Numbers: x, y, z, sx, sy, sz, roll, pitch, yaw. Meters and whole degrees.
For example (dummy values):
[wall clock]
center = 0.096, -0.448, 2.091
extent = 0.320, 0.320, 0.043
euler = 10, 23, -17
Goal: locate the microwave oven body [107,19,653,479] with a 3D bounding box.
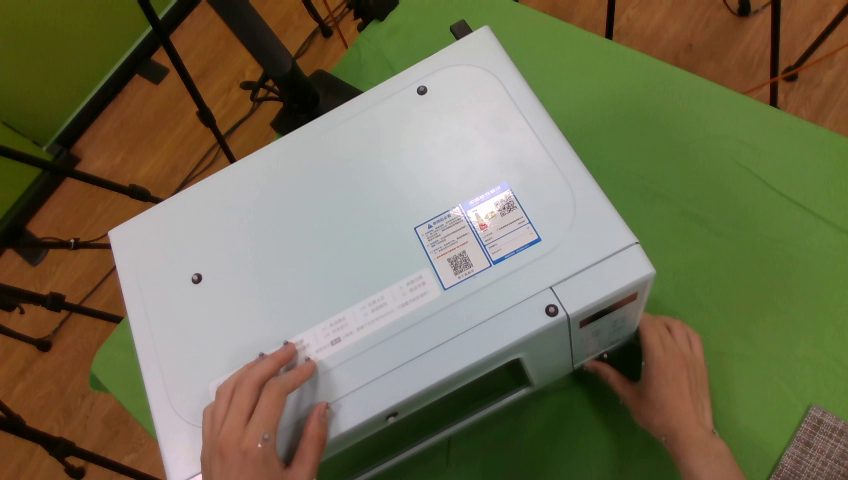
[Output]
[microwave oven body]
center = -0.045, 0.037, 0.658
extent = 0.442, 0.262, 0.323
euler = -29, 65, 3

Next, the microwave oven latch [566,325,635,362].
[microwave oven latch]
center = 0.195, 0.107, 0.677
extent = 0.079, 0.030, 0.030
euler = -27, 65, 3

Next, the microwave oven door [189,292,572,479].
[microwave oven door]
center = -0.023, 0.172, 0.593
extent = 0.356, 0.246, 0.039
euler = -29, 64, 2
